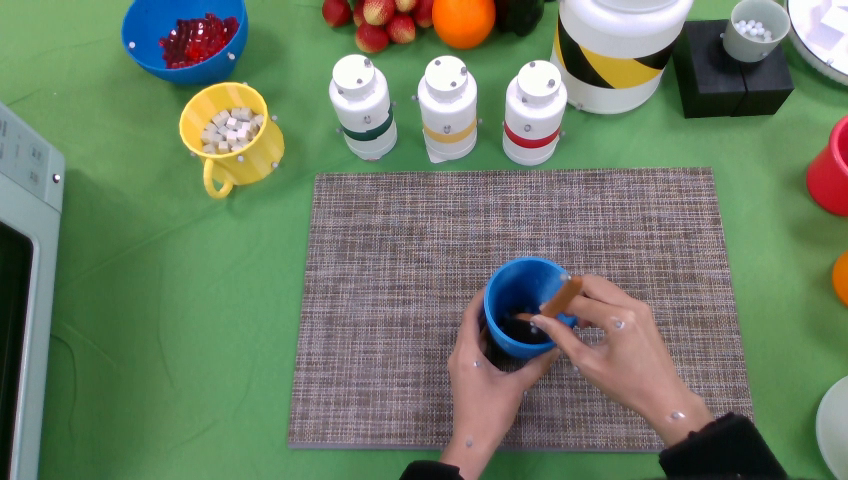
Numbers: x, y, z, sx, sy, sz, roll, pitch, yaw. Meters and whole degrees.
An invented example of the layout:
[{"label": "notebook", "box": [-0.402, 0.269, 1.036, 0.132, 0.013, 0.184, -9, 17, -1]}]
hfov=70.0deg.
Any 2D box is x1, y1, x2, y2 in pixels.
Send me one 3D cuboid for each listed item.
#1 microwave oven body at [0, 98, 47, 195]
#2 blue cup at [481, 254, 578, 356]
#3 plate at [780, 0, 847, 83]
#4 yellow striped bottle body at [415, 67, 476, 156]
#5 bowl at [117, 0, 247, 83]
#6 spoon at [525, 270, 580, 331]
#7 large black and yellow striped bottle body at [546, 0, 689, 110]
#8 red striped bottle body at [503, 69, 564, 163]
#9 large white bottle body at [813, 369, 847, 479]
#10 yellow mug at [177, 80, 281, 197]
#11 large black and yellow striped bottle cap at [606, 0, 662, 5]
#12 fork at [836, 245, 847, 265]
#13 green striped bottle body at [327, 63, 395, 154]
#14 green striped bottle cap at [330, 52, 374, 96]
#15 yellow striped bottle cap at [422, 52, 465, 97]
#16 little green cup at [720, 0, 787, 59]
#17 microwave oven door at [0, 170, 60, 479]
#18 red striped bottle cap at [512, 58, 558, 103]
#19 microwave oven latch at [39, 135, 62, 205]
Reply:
[{"label": "microwave oven body", "box": [-0.564, 0.071, 0.540, 0.326, 0.262, 0.438, -9, 68, 0]}, {"label": "blue cup", "box": [0.096, 0.071, 0.578, 0.092, 0.101, 0.092, -1, 68, 4]}, {"label": "plate", "box": [0.526, -0.262, 0.716, 0.209, 0.038, 0.207, -1, 69, 4]}, {"label": "yellow striped bottle body", "box": [0.024, -0.149, 0.663, 0.063, 0.121, 0.062, -2, 68, 5]}, {"label": "bowl", "box": [-0.284, -0.249, 0.749, 0.151, 0.077, 0.150, -1, 68, 3]}, {"label": "spoon", "box": [0.102, 0.060, 0.519, 0.041, 0.194, 0.021, 21, 72, 4]}, {"label": "large black and yellow striped bottle body", "box": [0.206, -0.243, 0.654, 0.131, 0.185, 0.130, -2, 68, 4]}, {"label": "red striped bottle body", "box": [0.117, -0.139, 0.654, 0.063, 0.120, 0.062, -3, 65, 8]}, {"label": "large white bottle body", "box": [0.420, 0.146, 0.480, 0.130, 0.186, 0.129, -2, 67, 4]}, {"label": "yellow mug", "box": [-0.226, -0.111, 0.696, 0.100, 0.064, 0.130, 9, 69, 7]}, {"label": "large black and yellow striped bottle cap", "box": [0.199, -0.273, 0.575, 0.115, 0.019, 0.114, -2, 67, 4]}, {"label": "fork", "box": [0.476, 0.039, 0.539, 0.028, 0.019, 0.205, -35, 25, -14]}, {"label": "green striped bottle body", "box": [-0.070, -0.151, 0.672, 0.063, 0.120, 0.062, -1, 67, 4]}, {"label": "green striped bottle cap", "box": [-0.075, -0.171, 0.624, 0.044, 0.020, 0.044, -1, 67, 3]}, {"label": "yellow striped bottle cap", "box": [0.020, -0.169, 0.616, 0.044, 0.019, 0.044, -1, 69, 3]}, {"label": "little green cup", "box": [0.357, -0.231, 0.662, 0.061, 0.039, 0.061, -1, 67, 2]}, {"label": "microwave oven door", "box": [-0.415, 0.084, 0.518, 0.039, 0.245, 0.353, -10, 68, 1]}, {"label": "red striped bottle cap", "box": [0.111, -0.160, 0.605, 0.044, 0.018, 0.044, 0, 67, 0]}, {"label": "microwave oven latch", "box": [-0.437, -0.078, 0.694, 0.030, 0.030, 0.078, -8, 68, 1]}]
